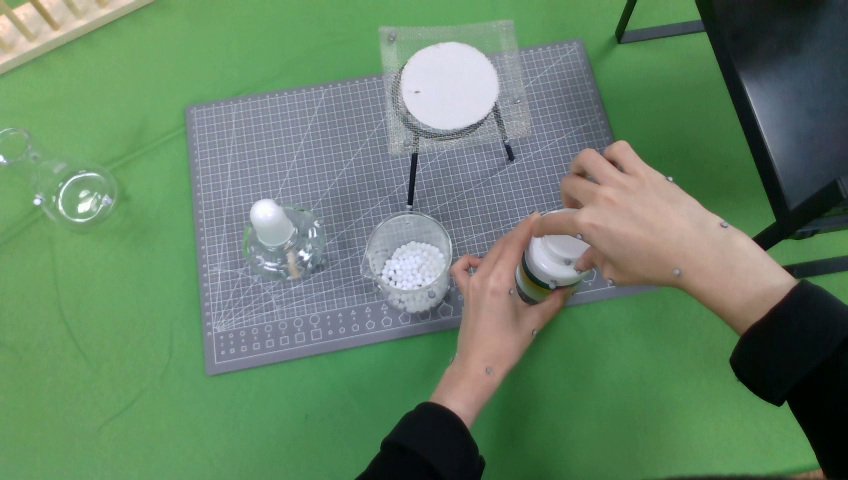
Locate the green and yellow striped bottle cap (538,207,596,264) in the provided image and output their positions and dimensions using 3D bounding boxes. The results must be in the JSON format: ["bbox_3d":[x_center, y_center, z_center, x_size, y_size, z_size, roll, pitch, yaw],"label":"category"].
[{"bbox_3d":[0.118,-0.004,0.497,0.045,0.020,0.045,0,73,1],"label":"green and yellow striped bottle cap"}]

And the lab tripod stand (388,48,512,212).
[{"bbox_3d":[0.019,-0.110,0.584,0.148,0.132,0.147,0,70,0],"label":"lab tripod stand"}]

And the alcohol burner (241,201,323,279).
[{"bbox_3d":[-0.135,-0.006,0.564,0.078,0.120,0.077,0,70,-1],"label":"alcohol burner"}]

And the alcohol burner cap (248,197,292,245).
[{"bbox_3d":[-0.137,-0.020,0.529,0.034,0.048,0.033,1,64,-1],"label":"alcohol burner cap"}]

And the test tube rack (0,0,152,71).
[{"bbox_3d":[-0.422,-0.278,0.674,0.242,0.085,0.066,-30,74,-9],"label":"test tube rack"}]

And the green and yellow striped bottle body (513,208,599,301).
[{"bbox_3d":[0.119,0.012,0.550,0.063,0.120,0.063,0,72,1],"label":"green and yellow striped bottle body"}]

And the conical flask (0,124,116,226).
[{"bbox_3d":[-0.362,-0.066,0.585,0.075,0.122,0.075,0,71,1],"label":"conical flask"}]

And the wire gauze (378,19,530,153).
[{"bbox_3d":[0.025,-0.137,0.522,0.121,0.011,0.124,-5,72,-2],"label":"wire gauze"}]

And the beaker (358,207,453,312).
[{"bbox_3d":[-0.015,0.025,0.559,0.084,0.101,0.073,-22,72,-5],"label":"beaker"}]
